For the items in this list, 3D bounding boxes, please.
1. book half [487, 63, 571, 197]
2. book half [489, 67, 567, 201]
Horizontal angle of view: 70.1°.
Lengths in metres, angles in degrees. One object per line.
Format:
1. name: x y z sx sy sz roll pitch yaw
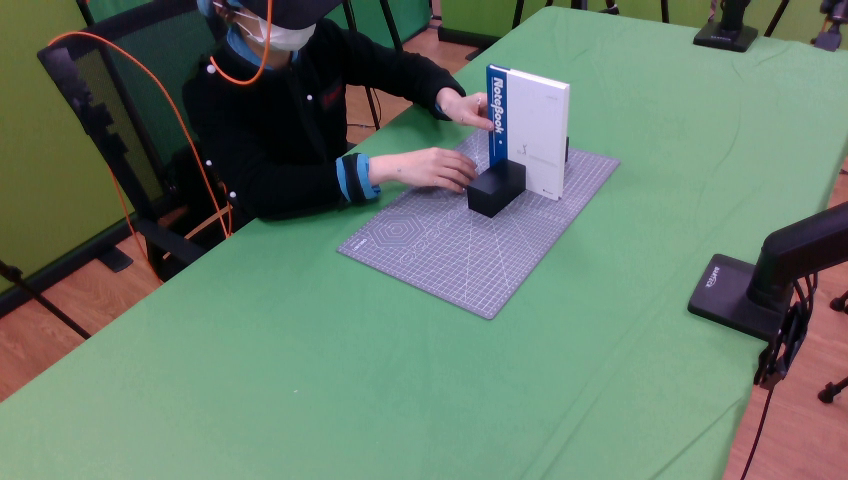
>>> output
1. book half: 0.170 -0.176 0.999 0.147 0.211 0.016 26 51 33
2. book half: 0.167 -0.171 0.994 0.142 0.211 0.007 28 52 33
